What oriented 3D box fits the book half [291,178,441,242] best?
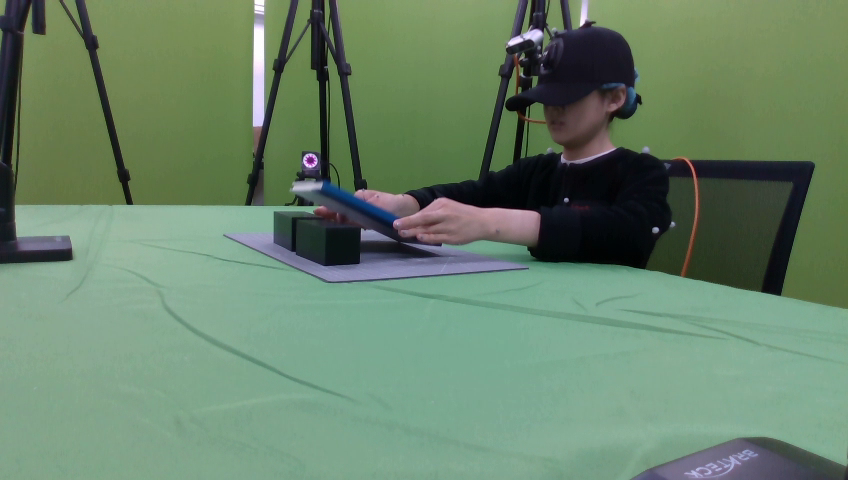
[{"bbox_3d":[-0.090,-0.043,0.928,0.211,0.007,0.142,27,-10,-28],"label":"book half"}]
